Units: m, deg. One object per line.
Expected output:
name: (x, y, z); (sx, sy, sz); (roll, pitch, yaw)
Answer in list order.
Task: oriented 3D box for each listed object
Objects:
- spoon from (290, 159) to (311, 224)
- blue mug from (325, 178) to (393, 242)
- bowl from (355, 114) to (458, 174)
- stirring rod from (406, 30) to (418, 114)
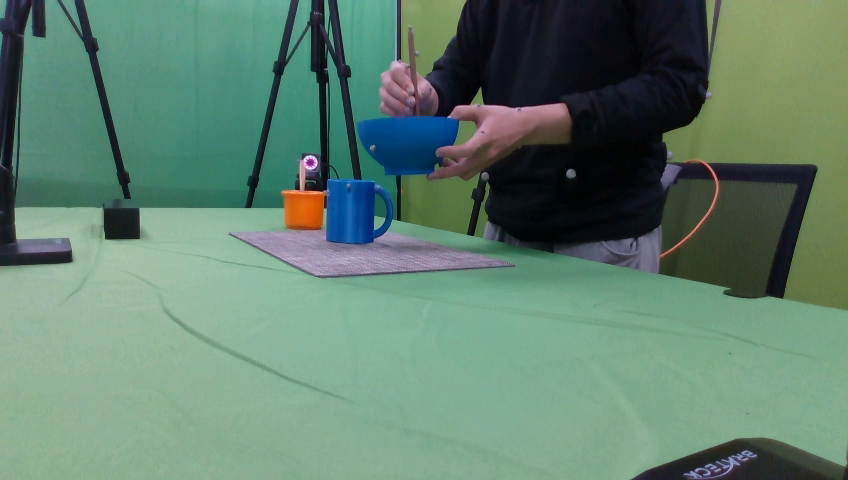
spoon: (-0.256, -0.104, 1.265); (0.042, 0.193, 0.021); (1, -37, -9)
blue mug: (-0.111, -0.052, 1.034); (0.116, 0.106, 0.082); (3, 7, 7)
bowl: (-0.024, -0.136, 0.883); (0.151, 0.077, 0.151); (-2, 5, 1)
stirring rod: (-0.015, -0.207, 0.853); (0.006, 0.176, 0.014); (-6, 4, -25)
